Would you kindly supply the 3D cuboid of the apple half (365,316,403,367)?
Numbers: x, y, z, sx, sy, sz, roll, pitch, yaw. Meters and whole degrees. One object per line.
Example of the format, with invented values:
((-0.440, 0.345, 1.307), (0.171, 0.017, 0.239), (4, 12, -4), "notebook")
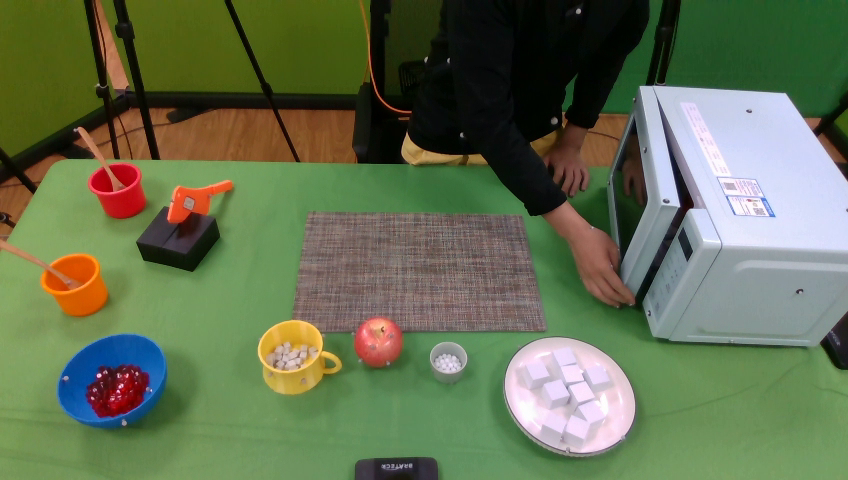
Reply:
((-0.063, 0.165, 1.000), (0.053, 0.075, 0.080), (-16, 45, -24), "apple half")

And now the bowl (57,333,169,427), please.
((-0.455, 0.223, 0.912), (0.151, 0.077, 0.150), (3, 45, -2), "bowl")

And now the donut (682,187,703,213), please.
((0.555, -0.067, 1.185), (0.099, 0.048, 0.098), (3, 45, -3), "donut")

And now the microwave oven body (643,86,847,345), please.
((0.567, -0.053, 1.118), (0.326, 0.261, 0.439), (2, 45, -1), "microwave oven body")

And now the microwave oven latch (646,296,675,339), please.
((0.412, 0.134, 1.061), (0.030, 0.029, 0.078), (4, 45, 1), "microwave oven latch")

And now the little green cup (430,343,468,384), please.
((0.039, 0.203, 0.993), (0.061, 0.039, 0.061), (2, 46, -2), "little green cup")

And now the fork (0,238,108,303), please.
((-0.633, 0.048, 1.017), (0.208, 0.018, 0.028), (40, 44, -27), "fork")

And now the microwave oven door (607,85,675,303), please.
((0.402, -0.096, 1.141), (0.039, 0.245, 0.354), (8, 46, 4), "microwave oven door")

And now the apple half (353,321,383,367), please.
((-0.097, 0.177, 0.984), (0.033, 0.081, 0.081), (-17, 49, -24), "apple half")

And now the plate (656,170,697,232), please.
((0.556, -0.060, 1.195), (0.209, 0.038, 0.208), (1, 45, -1), "plate")

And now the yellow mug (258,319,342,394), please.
((-0.195, 0.189, 0.972), (0.131, 0.064, 0.099), (9, 46, 4), "yellow mug")

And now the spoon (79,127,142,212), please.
((-0.624, -0.140, 1.203), (0.041, 0.021, 0.194), (-33, 100, -26), "spoon")

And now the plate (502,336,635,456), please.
((0.225, 0.248, 0.963), (0.208, 0.039, 0.206), (2, 46, -2), "plate")

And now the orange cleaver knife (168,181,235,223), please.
((-0.436, -0.078, 1.196), (0.012, 0.077, 0.211), (16, 15, 10), "orange cleaver knife")
